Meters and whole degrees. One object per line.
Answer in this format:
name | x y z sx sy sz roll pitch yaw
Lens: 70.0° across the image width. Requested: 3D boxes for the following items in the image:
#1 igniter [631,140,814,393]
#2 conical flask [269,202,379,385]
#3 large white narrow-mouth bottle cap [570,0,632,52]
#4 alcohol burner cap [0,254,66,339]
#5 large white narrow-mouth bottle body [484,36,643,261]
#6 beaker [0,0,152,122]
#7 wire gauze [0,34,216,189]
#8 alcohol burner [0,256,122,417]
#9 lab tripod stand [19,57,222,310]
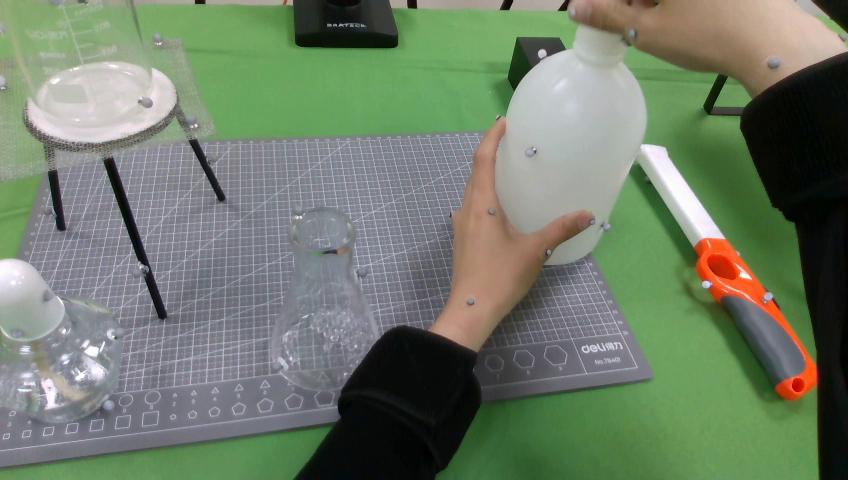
igniter | 0.246 0.007 0.520 0.057 0.025 0.273 4 46 -19
conical flask | -0.064 0.032 0.383 0.075 0.123 0.074 4 47 -4
large white narrow-mouth bottle cap | 0.115 -0.141 0.395 0.038 0.024 0.037 4 47 -4
alcohol burner cap | -0.216 0.028 0.321 0.034 0.048 0.033 4 53 -5
large white narrow-mouth bottle body | 0.109 -0.080 0.461 0.102 0.196 0.101 4 47 -3
beaker | -0.203 -0.125 0.342 0.084 0.101 0.073 -9 51 -16
wire gauze | -0.204 -0.089 0.377 0.122 0.011 0.123 -17 56 -20
alcohol burner | -0.220 0.051 0.348 0.078 0.120 0.077 6 46 -5
lab tripod stand | -0.206 -0.044 0.424 0.148 0.132 0.147 6 48 -6
